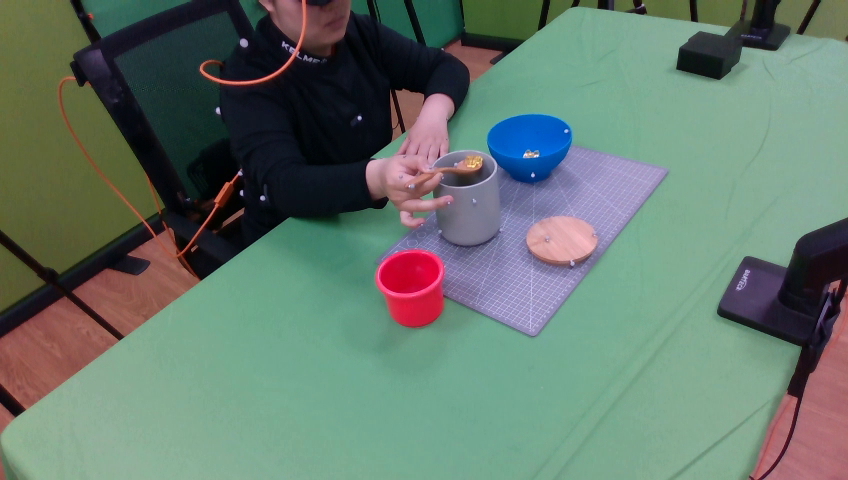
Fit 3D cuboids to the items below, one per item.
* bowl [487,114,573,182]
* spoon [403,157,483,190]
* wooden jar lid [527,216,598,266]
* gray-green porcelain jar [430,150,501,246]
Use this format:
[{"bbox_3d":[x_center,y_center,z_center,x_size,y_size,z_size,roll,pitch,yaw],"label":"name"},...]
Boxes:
[{"bbox_3d":[0.190,-0.156,1.085,0.151,0.077,0.150,-5,40,5],"label":"bowl"},{"bbox_3d":[0.028,-0.099,0.880,0.041,0.021,0.195,17,22,31],"label":"spoon"},{"bbox_3d":[0.214,0.003,0.937,0.108,0.021,0.108,-4,40,4],"label":"wooden jar lid"},{"bbox_3d":[0.069,-0.062,0.959,0.106,0.127,0.105,-5,40,5],"label":"gray-green porcelain jar"}]
